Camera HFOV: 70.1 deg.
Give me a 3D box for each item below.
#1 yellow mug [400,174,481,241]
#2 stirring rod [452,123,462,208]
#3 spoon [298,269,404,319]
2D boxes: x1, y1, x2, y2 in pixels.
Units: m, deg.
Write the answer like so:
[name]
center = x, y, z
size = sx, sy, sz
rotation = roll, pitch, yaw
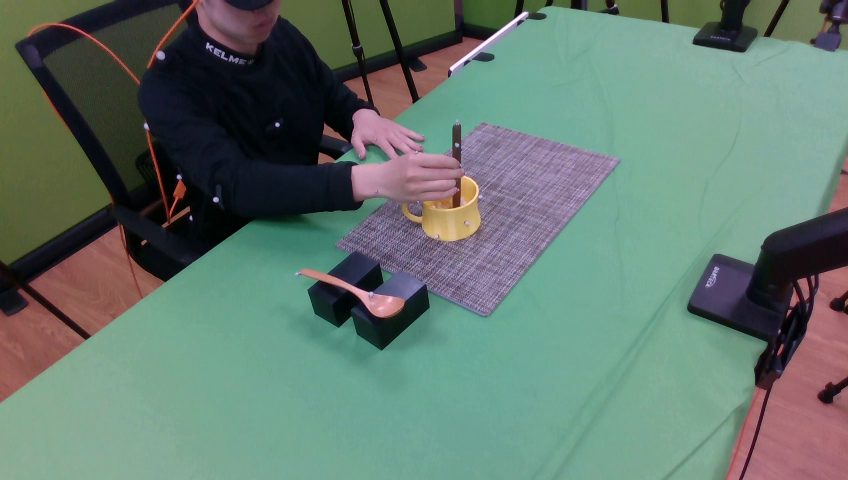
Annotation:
[yellow mug]
center = 0.026, -0.054, 0.988
size = 0.130, 0.064, 0.099
rotation = -1, 41, 8
[stirring rod]
center = 0.052, -0.104, 0.940
size = 0.014, 0.177, 0.005
rotation = -20, 44, -18
[spoon]
center = -0.106, 0.068, 0.831
size = 0.192, 0.022, 0.042
rotation = 21, 49, 32
